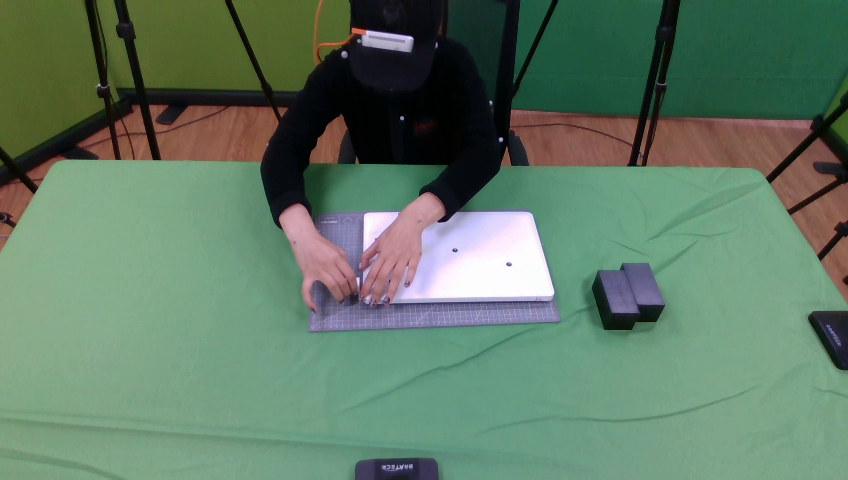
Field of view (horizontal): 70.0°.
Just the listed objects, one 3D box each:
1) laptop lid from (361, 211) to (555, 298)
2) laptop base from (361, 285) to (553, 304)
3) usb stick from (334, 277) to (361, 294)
[{"bbox_3d":[0.058,0.022,1.168,0.357,0.013,0.240,1,44,-4],"label":"laptop lid"},{"bbox_3d":[0.057,0.032,1.174,0.355,0.023,0.234,-1,43,-5],"label":"laptop base"},{"bbox_3d":[-0.132,0.082,1.095,0.059,0.027,0.021,0,44,-4],"label":"usb stick"}]
